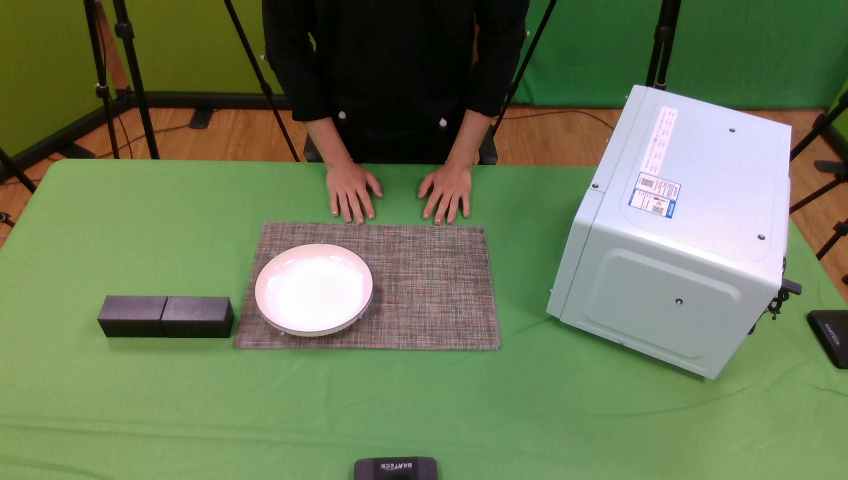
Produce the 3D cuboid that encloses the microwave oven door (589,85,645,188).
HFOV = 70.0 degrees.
[{"bbox_3d":[0.342,-0.107,1.149,0.039,0.245,0.354,20,48,15],"label":"microwave oven door"}]

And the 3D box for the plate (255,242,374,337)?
[{"bbox_3d":[-0.192,0.090,1.079,0.208,0.039,0.206,2,46,-2],"label":"plate"}]

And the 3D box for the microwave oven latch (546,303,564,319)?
[{"bbox_3d":[0.242,0.102,1.081,0.030,0.029,0.079,22,48,17],"label":"microwave oven latch"}]

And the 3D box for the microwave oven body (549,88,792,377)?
[{"bbox_3d":[0.456,-0.028,1.088,0.325,0.261,0.440,20,47,16],"label":"microwave oven body"}]
